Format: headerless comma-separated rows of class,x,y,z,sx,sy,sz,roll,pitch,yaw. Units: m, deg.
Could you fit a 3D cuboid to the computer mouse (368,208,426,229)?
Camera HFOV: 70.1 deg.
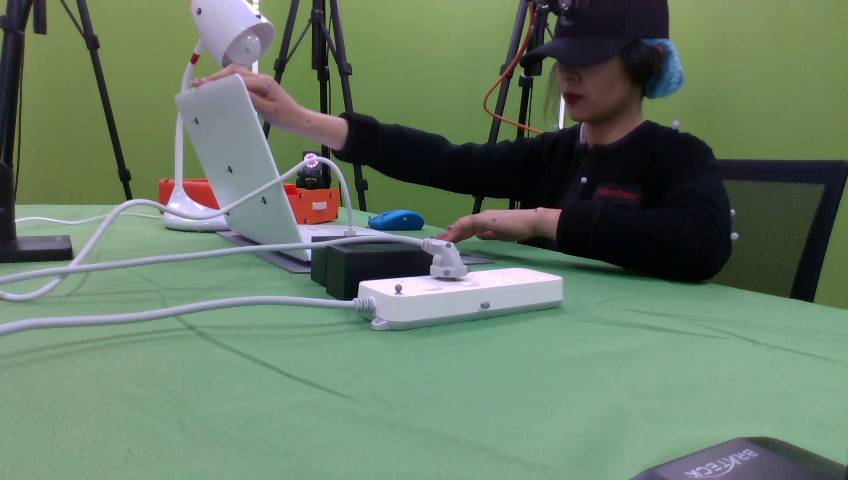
computer mouse,-0.057,-0.044,1.267,0.118,0.041,0.062,-6,12,-28

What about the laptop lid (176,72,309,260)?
laptop lid,-0.267,-0.101,0.847,0.013,0.242,0.355,-27,22,-27

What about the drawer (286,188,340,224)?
drawer,-0.314,-0.078,1.301,0.211,0.073,0.195,4,8,16

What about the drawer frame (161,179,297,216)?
drawer frame,-0.421,-0.089,1.329,0.213,0.082,0.202,4,8,16

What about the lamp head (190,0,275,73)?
lamp head,-0.330,-0.355,1.008,0.123,0.112,0.112,43,15,6

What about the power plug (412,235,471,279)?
power plug,0.017,0.023,0.588,0.035,0.052,0.072,-1,7,-24

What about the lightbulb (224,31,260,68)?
lightbulb,-0.320,-0.332,1.001,0.107,0.059,0.059,45,15,6

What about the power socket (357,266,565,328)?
power socket,0.041,0.049,0.572,0.228,0.032,0.072,-3,8,-35

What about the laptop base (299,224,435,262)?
laptop base,-0.135,0.002,0.949,0.237,0.023,0.352,1,6,-33

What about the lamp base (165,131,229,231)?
lamp base,-0.407,-0.111,1.119,0.179,0.180,0.161,-1,7,7

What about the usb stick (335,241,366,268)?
usb stick,-0.094,0.017,0.747,0.021,0.027,0.059,-2,9,-34
